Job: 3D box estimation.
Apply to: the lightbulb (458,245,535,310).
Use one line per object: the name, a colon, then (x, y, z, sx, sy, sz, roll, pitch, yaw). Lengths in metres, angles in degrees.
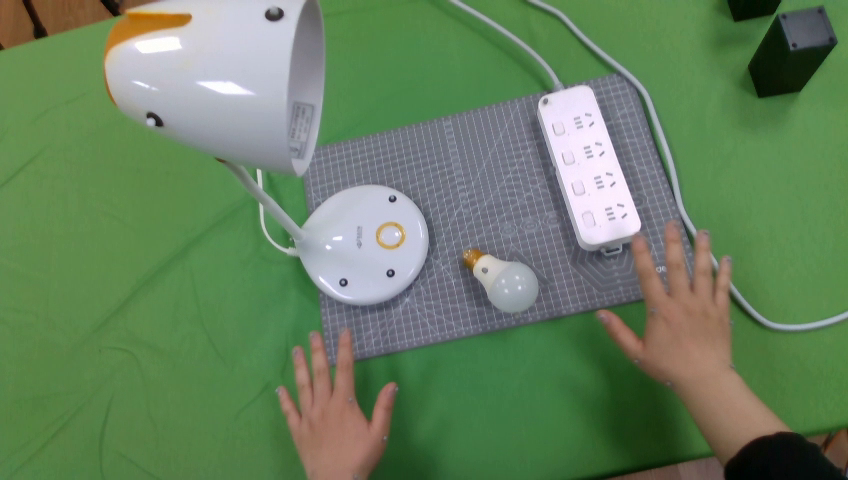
lightbulb: (0.080, 0.039, 0.707, 0.106, 0.060, 0.059, 36, 81, 33)

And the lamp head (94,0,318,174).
lamp head: (-0.132, -0.101, 0.378, 0.123, 0.113, 0.112, 5, 73, 3)

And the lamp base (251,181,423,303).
lamp base: (-0.104, -0.020, 0.685, 0.179, 0.181, 0.159, -16, 70, 7)

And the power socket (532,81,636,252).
power socket: (0.192, -0.095, 0.741, 0.072, 0.033, 0.225, -14, 70, 3)
